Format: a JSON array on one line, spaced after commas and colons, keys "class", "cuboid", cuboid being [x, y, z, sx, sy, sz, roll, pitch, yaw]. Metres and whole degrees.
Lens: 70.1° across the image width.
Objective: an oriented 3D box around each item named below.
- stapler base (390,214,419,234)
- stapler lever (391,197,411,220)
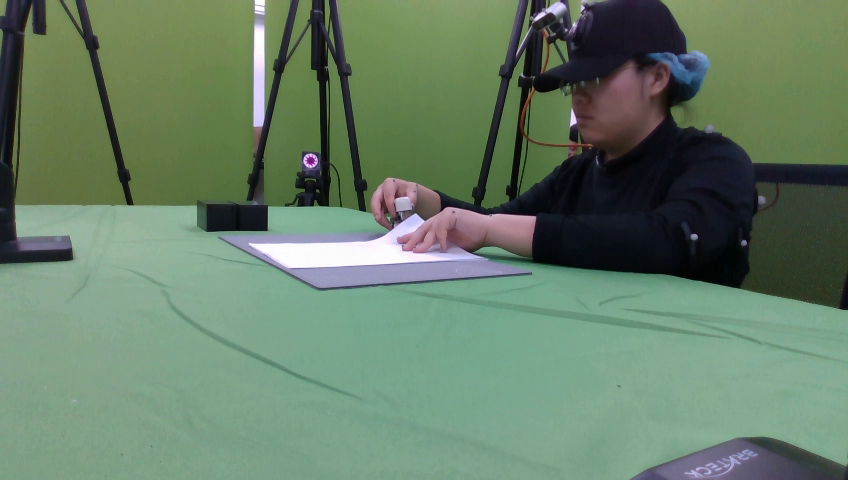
[{"class": "stapler base", "cuboid": [-0.038, -0.035, 1.093, 0.041, 0.024, 0.130, -9, 12, -7]}, {"class": "stapler lever", "cuboid": [-0.043, -0.060, 1.089, 0.027, 0.040, 0.118, -9, 11, -7]}]
